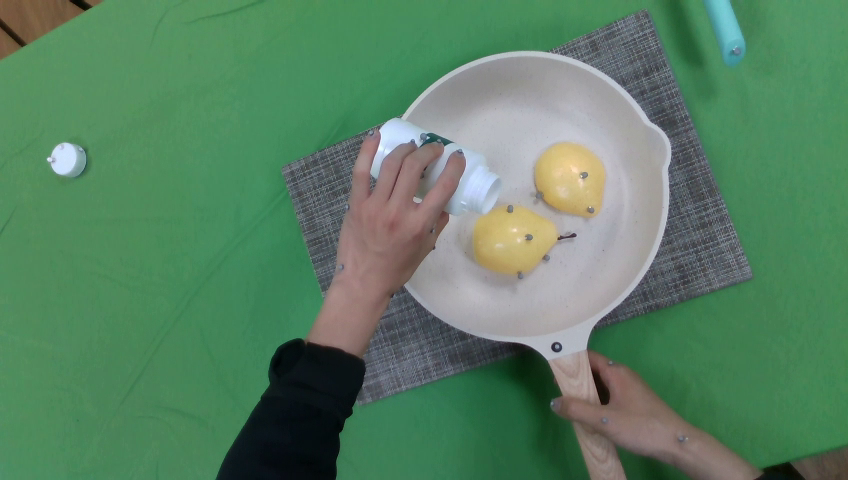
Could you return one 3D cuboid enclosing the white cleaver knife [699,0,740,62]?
[{"bbox_3d":[0.258,-0.311,0.606,0.021,0.066,0.285,-18,83,18],"label":"white cleaver knife"}]

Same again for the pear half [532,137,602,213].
[{"bbox_3d":[0.152,-0.068,0.640,0.070,0.031,0.087,-37,78,15],"label":"pear half"}]

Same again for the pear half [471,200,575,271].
[{"bbox_3d":[0.104,-0.007,0.639,0.109,0.056,0.076,-8,92,11],"label":"pear half"}]

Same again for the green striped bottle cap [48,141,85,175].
[{"bbox_3d":[-0.474,-0.108,0.802,0.044,0.020,0.044,0,89,14],"label":"green striped bottle cap"}]

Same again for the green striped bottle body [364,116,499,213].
[{"bbox_3d":[0.009,-0.067,0.566,0.118,0.063,0.063,26,95,19],"label":"green striped bottle body"}]

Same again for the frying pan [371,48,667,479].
[{"bbox_3d":[0.121,0.051,0.610,0.306,0.103,0.485,-19,76,13],"label":"frying pan"}]
